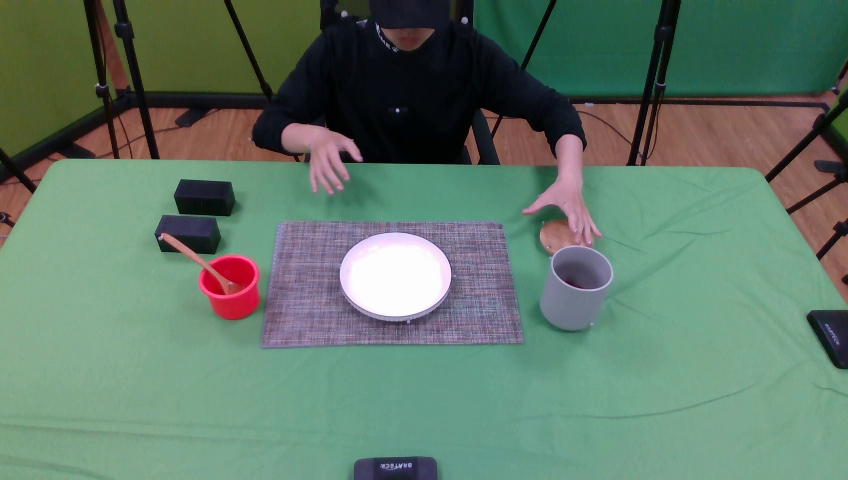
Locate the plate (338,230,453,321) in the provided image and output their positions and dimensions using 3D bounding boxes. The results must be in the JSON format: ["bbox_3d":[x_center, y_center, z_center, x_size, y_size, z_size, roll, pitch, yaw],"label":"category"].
[{"bbox_3d":[-0.052,0.068,1.111,0.208,0.039,0.206,2,46,-2],"label":"plate"}]

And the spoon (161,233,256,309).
[{"bbox_3d":[-0.366,0.051,1.036,0.194,0.021,0.041,47,45,-21],"label":"spoon"}]

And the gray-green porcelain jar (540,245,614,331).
[{"bbox_3d":[0.262,0.088,1.058,0.106,0.127,0.105,2,46,-2],"label":"gray-green porcelain jar"}]

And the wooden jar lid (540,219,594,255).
[{"bbox_3d":[0.286,0.001,1.219,0.108,0.021,0.107,1,46,-1],"label":"wooden jar lid"}]
